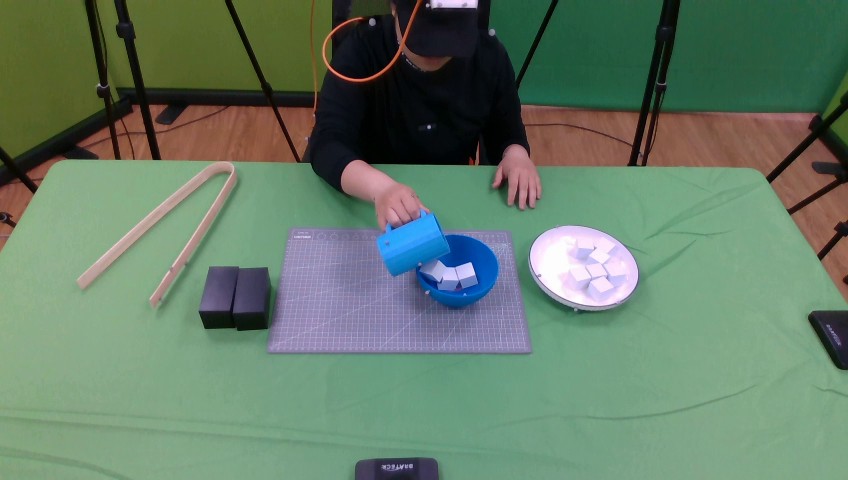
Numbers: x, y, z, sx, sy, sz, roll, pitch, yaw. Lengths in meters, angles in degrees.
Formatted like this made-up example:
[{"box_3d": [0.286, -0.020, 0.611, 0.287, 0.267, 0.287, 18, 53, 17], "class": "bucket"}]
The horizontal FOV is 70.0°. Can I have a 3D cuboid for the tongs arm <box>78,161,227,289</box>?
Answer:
[{"box_3d": [-0.524, -0.043, 1.196, 0.028, 0.028, 0.386, 15, 47, 22], "class": "tongs arm"}]

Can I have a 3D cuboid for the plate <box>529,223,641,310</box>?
[{"box_3d": [0.303, 0.053, 1.156, 0.209, 0.038, 0.208, 2, 46, -1], "class": "plate"}]

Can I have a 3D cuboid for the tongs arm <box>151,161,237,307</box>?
[{"box_3d": [-0.447, -0.026, 1.180, 0.051, 0.027, 0.383, 8, 46, 10], "class": "tongs arm"}]

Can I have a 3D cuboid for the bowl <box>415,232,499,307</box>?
[{"box_3d": [0.057, 0.067, 1.093, 0.151, 0.077, 0.150, 2, 46, -2], "class": "bowl"}]

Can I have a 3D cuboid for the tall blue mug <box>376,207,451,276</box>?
[{"box_3d": [-0.024, -0.007, 1.043, 0.108, 0.078, 0.107, -24, 80, 6], "class": "tall blue mug"}]
